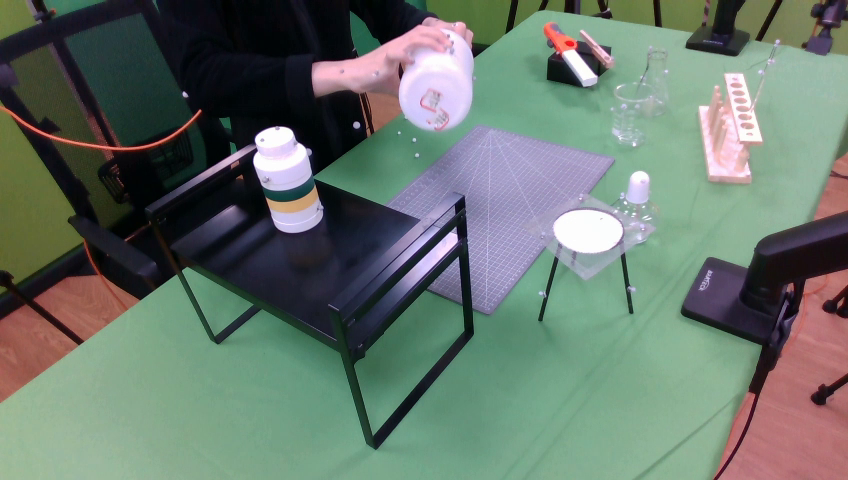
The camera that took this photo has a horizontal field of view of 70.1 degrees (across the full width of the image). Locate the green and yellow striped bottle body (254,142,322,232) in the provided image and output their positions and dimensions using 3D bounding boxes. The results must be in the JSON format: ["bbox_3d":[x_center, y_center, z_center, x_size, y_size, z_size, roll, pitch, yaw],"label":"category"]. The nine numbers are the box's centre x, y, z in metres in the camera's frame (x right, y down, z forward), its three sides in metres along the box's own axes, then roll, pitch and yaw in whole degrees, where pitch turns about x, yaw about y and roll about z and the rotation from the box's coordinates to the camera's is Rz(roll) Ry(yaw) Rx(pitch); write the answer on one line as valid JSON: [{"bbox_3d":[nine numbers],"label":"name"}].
[{"bbox_3d":[-0.165,-0.073,0.732,0.063,0.120,0.063,-4,41,4],"label":"green and yellow striped bottle body"}]

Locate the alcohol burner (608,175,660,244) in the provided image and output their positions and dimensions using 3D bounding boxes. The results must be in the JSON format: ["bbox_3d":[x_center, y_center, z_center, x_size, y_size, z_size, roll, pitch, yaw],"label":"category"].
[{"bbox_3d":[0.323,-0.053,0.924,0.078,0.119,0.077,-4,43,4],"label":"alcohol burner"}]

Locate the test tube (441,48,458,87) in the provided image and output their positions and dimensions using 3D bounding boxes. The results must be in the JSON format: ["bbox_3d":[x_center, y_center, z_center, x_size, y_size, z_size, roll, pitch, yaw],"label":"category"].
[{"bbox_3d":[0.044,-0.289,1.023,0.017,0.150,0.017,-1,85,8],"label":"test tube"}]

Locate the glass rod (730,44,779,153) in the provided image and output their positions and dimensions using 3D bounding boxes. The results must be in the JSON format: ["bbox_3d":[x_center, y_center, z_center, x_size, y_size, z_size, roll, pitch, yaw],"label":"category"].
[{"bbox_3d":[0.555,-0.234,1.020,0.008,0.200,0.008,2,40,-1],"label":"glass rod"}]

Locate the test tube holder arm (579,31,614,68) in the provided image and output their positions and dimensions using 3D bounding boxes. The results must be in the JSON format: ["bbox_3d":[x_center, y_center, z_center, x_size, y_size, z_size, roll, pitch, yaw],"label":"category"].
[{"bbox_3d":[0.384,-0.428,1.351,0.013,0.015,0.177,-11,41,-4],"label":"test tube holder arm"}]

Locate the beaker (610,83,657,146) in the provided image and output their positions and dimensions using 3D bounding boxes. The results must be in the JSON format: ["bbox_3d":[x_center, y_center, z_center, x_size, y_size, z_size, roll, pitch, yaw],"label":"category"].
[{"bbox_3d":[0.388,-0.235,1.138,0.074,0.101,0.083,-31,45,-25],"label":"beaker"}]

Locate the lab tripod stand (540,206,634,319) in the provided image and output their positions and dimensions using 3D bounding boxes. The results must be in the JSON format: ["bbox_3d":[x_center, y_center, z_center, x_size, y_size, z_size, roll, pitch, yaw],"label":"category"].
[{"bbox_3d":[0.217,0.034,0.821,0.148,0.132,0.147,-4,42,4],"label":"lab tripod stand"}]

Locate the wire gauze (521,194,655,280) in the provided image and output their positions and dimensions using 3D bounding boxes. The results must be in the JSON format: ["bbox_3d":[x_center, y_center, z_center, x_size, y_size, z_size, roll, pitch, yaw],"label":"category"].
[{"bbox_3d":[0.207,-0.012,0.772,0.122,0.011,0.124,-28,44,-20],"label":"wire gauze"}]

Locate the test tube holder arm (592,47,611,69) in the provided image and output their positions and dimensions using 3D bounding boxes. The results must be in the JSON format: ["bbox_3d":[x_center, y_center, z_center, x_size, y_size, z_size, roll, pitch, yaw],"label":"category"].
[{"bbox_3d":[0.386,-0.398,1.317,0.010,0.015,0.087,-10,41,-3],"label":"test tube holder arm"}]

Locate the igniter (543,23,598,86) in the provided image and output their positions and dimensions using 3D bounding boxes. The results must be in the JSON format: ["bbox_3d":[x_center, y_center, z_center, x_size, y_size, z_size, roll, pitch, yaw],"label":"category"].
[{"bbox_3d":[0.320,-0.419,1.345,0.057,0.025,0.274,-12,44,-3],"label":"igniter"}]

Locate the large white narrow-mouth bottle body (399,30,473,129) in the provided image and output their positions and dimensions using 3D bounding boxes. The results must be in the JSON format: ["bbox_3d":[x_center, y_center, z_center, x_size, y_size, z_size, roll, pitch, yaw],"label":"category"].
[{"bbox_3d":[0.021,-0.243,0.867,0.102,0.102,0.194,-1,36,6],"label":"large white narrow-mouth bottle body"}]

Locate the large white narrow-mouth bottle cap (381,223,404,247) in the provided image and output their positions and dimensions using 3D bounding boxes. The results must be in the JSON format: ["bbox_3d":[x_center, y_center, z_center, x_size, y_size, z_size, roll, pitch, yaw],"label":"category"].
[{"bbox_3d":[-0.052,-0.009,0.992,0.038,0.024,0.037,-5,39,4],"label":"large white narrow-mouth bottle cap"}]

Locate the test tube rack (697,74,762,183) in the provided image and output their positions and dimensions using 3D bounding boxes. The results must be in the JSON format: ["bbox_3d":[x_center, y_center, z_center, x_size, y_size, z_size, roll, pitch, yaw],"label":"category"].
[{"bbox_3d":[0.547,-0.208,1.095,0.066,0.085,0.242,5,42,15],"label":"test tube rack"}]

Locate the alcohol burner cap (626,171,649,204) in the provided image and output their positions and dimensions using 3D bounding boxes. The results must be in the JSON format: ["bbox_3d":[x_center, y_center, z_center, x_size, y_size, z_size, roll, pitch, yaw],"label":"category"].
[{"bbox_3d":[0.320,-0.081,0.900,0.034,0.048,0.033,-4,42,4],"label":"alcohol burner cap"}]

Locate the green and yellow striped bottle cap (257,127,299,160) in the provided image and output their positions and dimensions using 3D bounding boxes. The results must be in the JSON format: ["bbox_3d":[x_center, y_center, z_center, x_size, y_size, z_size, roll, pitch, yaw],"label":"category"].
[{"bbox_3d":[-0.169,-0.112,0.698,0.045,0.020,0.045,-5,40,5],"label":"green and yellow striped bottle cap"}]

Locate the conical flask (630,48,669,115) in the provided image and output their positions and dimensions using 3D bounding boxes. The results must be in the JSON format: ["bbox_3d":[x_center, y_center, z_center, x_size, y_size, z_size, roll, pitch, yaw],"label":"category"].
[{"bbox_3d":[0.456,-0.317,1.205,0.075,0.122,0.075,-4,41,4],"label":"conical flask"}]
